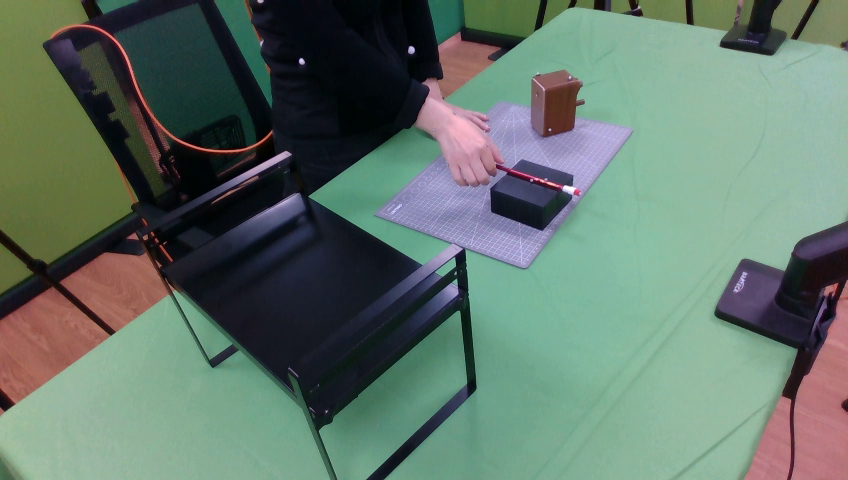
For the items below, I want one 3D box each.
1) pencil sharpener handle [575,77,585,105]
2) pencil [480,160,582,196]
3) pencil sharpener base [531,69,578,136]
[{"bbox_3d":[0.303,-0.292,1.181,0.031,0.068,0.035,-15,49,-9],"label":"pencil sharpener handle"},{"bbox_3d":[0.173,-0.106,1.003,0.192,0.012,0.012,23,49,31],"label":"pencil"},{"bbox_3d":[0.256,-0.268,1.179,0.077,0.107,0.061,-15,41,-9],"label":"pencil sharpener base"}]
